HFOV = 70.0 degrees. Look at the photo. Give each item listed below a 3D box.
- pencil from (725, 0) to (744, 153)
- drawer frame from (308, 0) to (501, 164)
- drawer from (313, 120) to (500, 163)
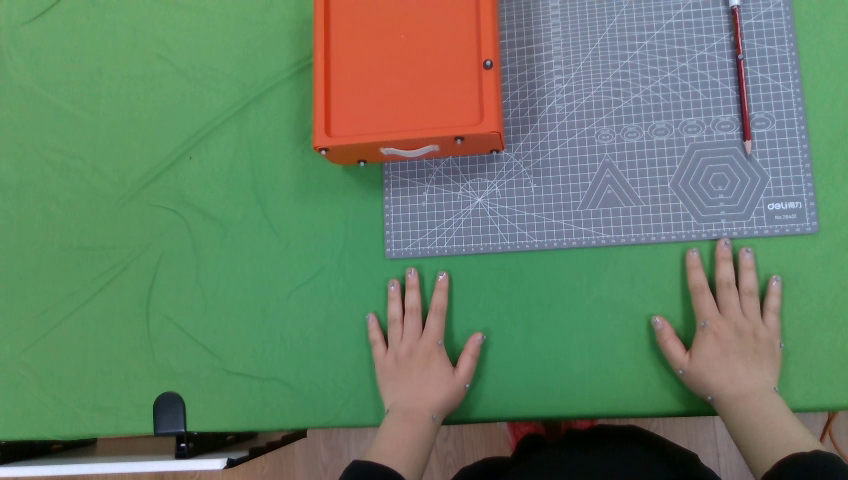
[{"bbox_3d":[0.327,-0.187,0.637,0.012,0.012,0.193,-3,85,10],"label":"pencil"},{"bbox_3d":[-0.022,-0.200,0.664,0.201,0.083,0.213,-4,82,11],"label":"drawer frame"},{"bbox_3d":[-0.020,-0.198,0.664,0.194,0.073,0.211,-4,82,11],"label":"drawer"}]
